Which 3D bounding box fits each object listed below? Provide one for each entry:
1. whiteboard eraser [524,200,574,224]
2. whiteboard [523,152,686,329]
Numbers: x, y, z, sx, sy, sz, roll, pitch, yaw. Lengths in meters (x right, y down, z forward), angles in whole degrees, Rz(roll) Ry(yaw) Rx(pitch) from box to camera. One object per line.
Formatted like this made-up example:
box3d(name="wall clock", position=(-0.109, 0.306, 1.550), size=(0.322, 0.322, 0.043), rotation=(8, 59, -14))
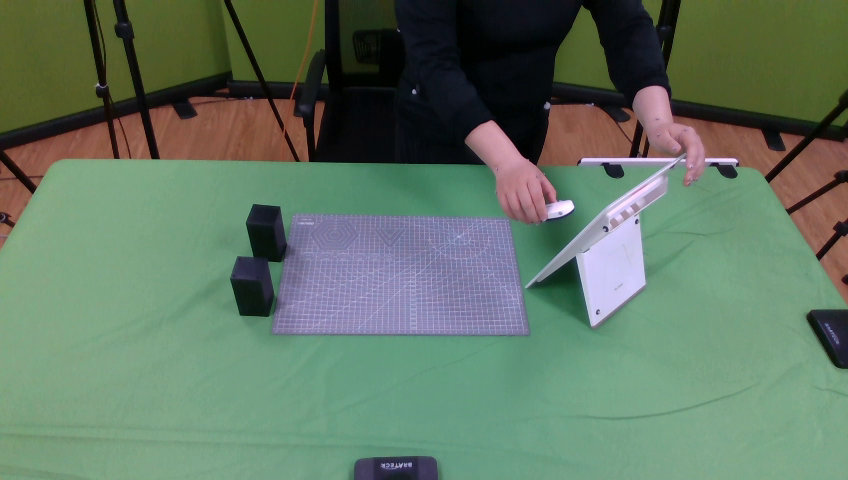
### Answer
box3d(name="whiteboard eraser", position=(0.215, -0.050, 1.048), size=(0.041, 0.019, 0.101), rotation=(-40, 18, -33))
box3d(name="whiteboard", position=(0.346, 0.024, 1.047), size=(0.217, 0.306, 0.143), rotation=(-29, 74, -29))
